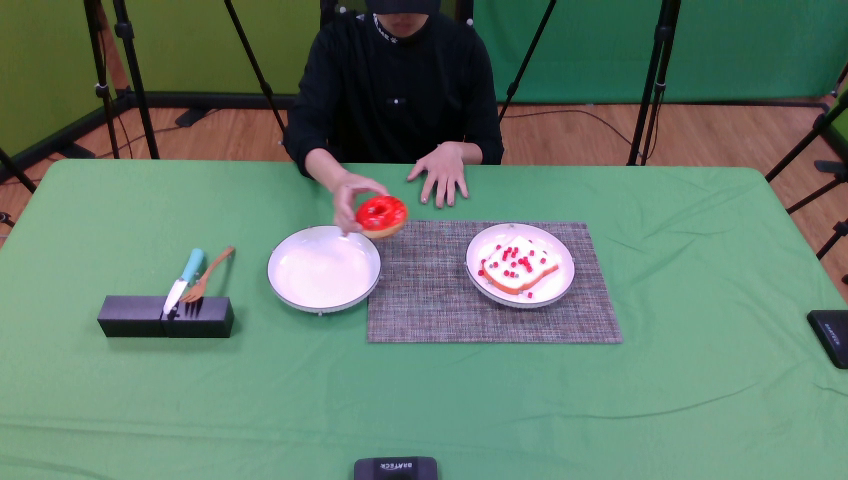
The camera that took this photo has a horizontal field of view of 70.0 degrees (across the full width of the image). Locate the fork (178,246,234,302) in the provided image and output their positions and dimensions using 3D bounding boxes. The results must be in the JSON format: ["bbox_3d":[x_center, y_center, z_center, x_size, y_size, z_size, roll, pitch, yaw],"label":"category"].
[{"bbox_3d":[-0.380,0.057,1.075,0.028,0.019,0.206,3,28,5],"label":"fork"}]

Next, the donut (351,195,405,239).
[{"bbox_3d":[-0.081,-0.042,1.074,0.099,0.048,0.098,-9,40,8],"label":"donut"}]

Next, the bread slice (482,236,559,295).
[{"bbox_3d":[0.177,0.050,1.148,0.131,0.019,0.104,-31,55,-31],"label":"bread slice"}]

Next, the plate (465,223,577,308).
[{"bbox_3d":[0.180,0.051,1.144,0.209,0.038,0.208,2,45,-2],"label":"plate"}]

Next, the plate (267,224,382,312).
[{"bbox_3d":[-0.182,0.054,1.120,0.208,0.039,0.206,2,46,-2],"label":"plate"}]

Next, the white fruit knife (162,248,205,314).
[{"bbox_3d":[-0.420,0.070,1.063,0.027,0.016,0.206,-1,29,-3],"label":"white fruit knife"}]
